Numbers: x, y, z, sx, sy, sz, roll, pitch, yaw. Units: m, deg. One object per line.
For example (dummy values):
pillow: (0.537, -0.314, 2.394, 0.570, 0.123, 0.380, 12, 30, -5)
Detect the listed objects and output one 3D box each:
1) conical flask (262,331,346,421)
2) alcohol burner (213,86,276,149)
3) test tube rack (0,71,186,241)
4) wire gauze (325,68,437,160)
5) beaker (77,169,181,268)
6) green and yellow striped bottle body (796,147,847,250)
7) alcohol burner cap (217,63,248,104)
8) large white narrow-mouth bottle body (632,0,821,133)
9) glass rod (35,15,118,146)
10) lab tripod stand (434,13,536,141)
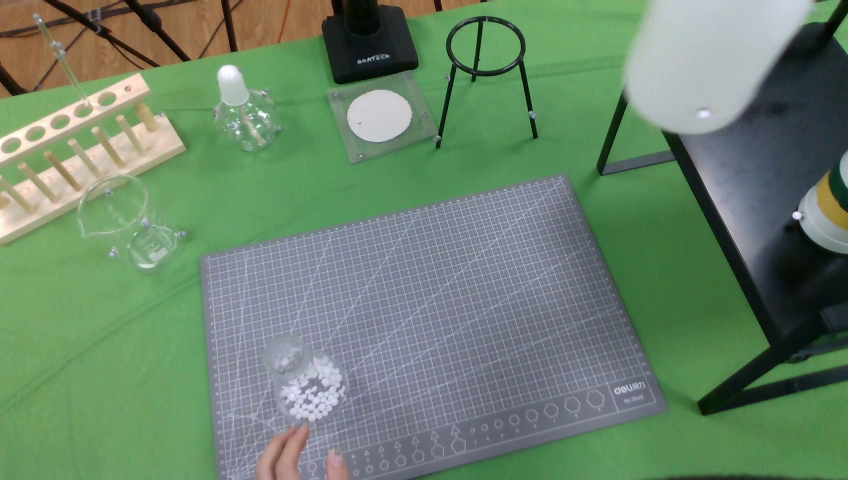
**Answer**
conical flask: (-0.120, 0.124, 0.578, 0.075, 0.123, 0.074, -1, 62, 2)
alcohol burner: (-0.225, -0.169, 0.744, 0.078, 0.120, 0.077, -1, 60, 1)
test tube rack: (-0.427, -0.102, 0.732, 0.242, 0.086, 0.066, -31, 66, -14)
wire gauze: (-0.057, -0.171, 0.798, 0.121, 0.011, 0.124, -17, 63, -8)
beaker: (-0.325, -0.017, 0.676, 0.073, 0.101, 0.083, 30, 67, 17)
green and yellow striped bottle body: (0.339, -0.046, 0.451, 0.063, 0.120, 0.062, -1, 62, 2)
alcohol burner cap: (-0.227, -0.187, 0.713, 0.034, 0.048, 0.033, 4, 59, -6)
large white narrow-mouth bottle body: (0.214, -0.166, 0.420, 0.102, 0.196, 0.101, -2, 66, 4)
glass rod: (-0.391, -0.174, 0.693, 0.008, 0.201, 0.008, 1, 59, -2)
lab tripod stand: (0.074, -0.193, 0.734, 0.148, 0.132, 0.147, 0, 61, 0)
